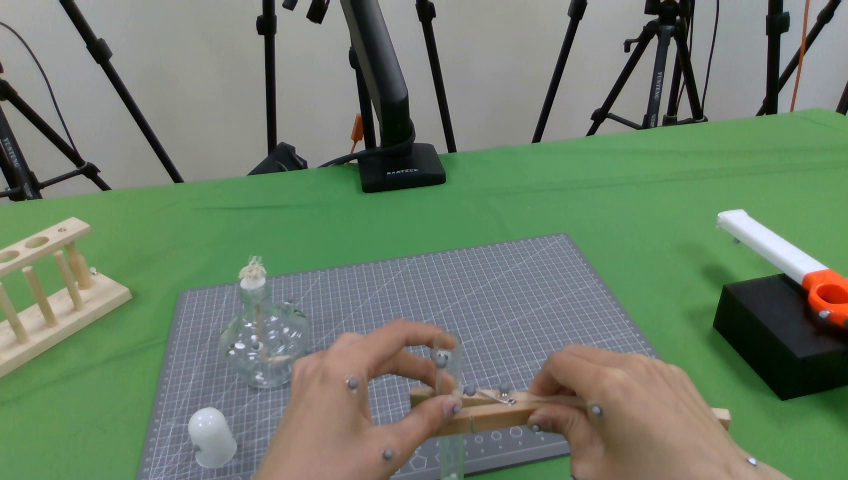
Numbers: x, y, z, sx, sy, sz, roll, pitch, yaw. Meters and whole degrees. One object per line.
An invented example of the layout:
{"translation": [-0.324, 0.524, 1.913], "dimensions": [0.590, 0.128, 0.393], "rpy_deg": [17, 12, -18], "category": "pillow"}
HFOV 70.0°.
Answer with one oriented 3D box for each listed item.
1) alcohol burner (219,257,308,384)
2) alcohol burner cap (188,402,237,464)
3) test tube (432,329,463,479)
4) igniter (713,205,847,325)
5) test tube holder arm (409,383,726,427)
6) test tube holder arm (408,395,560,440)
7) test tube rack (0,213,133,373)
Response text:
{"translation": [-0.143, 0.067, 0.531], "dimensions": [0.078, 0.120, 0.077], "rpy_deg": [-2, 32, 2], "category": "alcohol burner"}
{"translation": [-0.168, 0.148, 0.476], "dimensions": [0.034, 0.048, 0.033], "rpy_deg": [-2, 33, 1], "category": "alcohol burner cap"}
{"translation": [0.015, 0.113, 0.365], "dimensions": [0.017, 0.151, 0.017], "rpy_deg": [-2, 35, 2], "category": "test tube"}
{"translation": [0.353, 0.037, 0.538], "dimensions": [0.057, 0.025, 0.273], "rpy_deg": [-10, 31, -8], "category": "igniter"}
{"translation": [0.079, 0.095, 0.351], "dimensions": [0.178, 0.015, 0.013], "rpy_deg": [1, 37, 8], "category": "test tube holder arm"}
{"translation": [0.035, 0.100, 0.349], "dimensions": [0.088, 0.015, 0.010], "rpy_deg": [-9, 36, -5], "category": "test tube holder arm"}
{"translation": [-0.416, 0.072, 0.575], "dimensions": [0.066, 0.086, 0.242], "rpy_deg": [20, 40, 30], "category": "test tube rack"}
